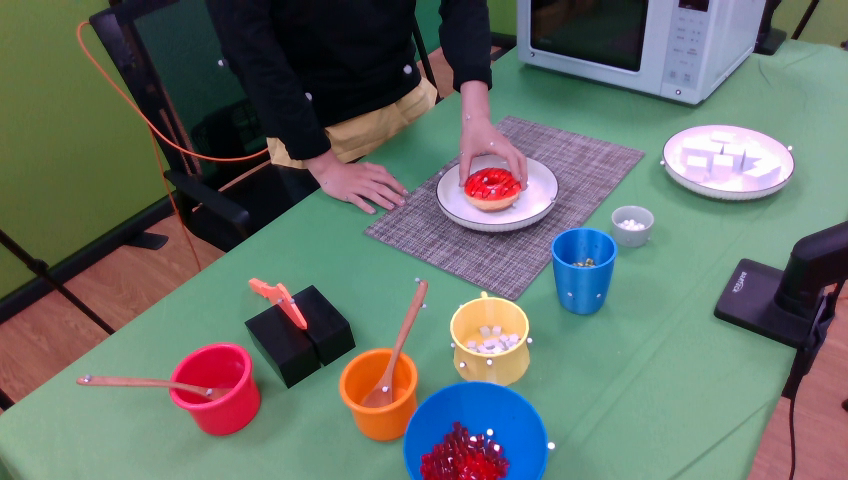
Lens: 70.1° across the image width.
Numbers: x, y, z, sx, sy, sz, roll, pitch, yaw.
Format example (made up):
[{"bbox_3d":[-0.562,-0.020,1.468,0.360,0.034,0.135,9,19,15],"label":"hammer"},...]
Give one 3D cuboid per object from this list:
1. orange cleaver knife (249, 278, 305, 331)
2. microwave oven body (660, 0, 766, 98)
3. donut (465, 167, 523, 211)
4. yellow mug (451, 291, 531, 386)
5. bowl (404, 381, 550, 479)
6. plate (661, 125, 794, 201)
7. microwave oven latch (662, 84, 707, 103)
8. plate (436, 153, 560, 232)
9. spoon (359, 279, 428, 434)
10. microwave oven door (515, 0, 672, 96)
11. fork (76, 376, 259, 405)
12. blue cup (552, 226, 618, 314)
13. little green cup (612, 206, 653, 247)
[{"bbox_3d":[-0.210,0.088,0.856,0.012,0.077,0.210,-28,15,-25],"label":"orange cleaver knife"},{"bbox_3d":[0.472,-0.513,1.317,0.438,0.261,0.327,26,51,34],"label":"microwave oven body"},{"bbox_3d":[0.117,-0.087,1.016,0.099,0.048,0.098,-7,37,6],"label":"donut"},{"bbox_3d":[0.086,0.120,0.786,0.100,0.064,0.130,-7,39,1],"label":"yellow mug"},{"bbox_3d":[0.058,0.235,0.645,0.151,0.077,0.150,-4,39,4],"label":"bowl"},{"bbox_3d":[0.513,-0.128,1.035,0.207,0.039,0.206,-4,40,4],"label":"plate"},{"bbox_3d":[0.517,-0.296,1.204,0.078,0.029,0.030,27,52,35],"label":"microwave oven latch"},{"bbox_3d":[0.125,-0.078,1.029,0.209,0.038,0.208,-4,40,4],"label":"plate"},{"bbox_3d":[-0.032,0.138,0.719,0.041,0.193,0.022,22,4,29],"label":"spoon"},{"bbox_3d":[0.344,-0.455,1.259,0.353,0.245,0.039,26,51,33],"label":"microwave oven door"},{"bbox_3d":[-0.295,0.176,0.716,0.209,0.018,0.028,19,27,-36],"label":"fork"},{"bbox_3d":[0.218,0.047,0.825,0.092,0.101,0.092,-6,40,5],"label":"blue cup"},{"bbox_3d":[0.321,-0.019,0.936,0.061,0.039,0.061,-4,41,4],"label":"little green cup"}]
